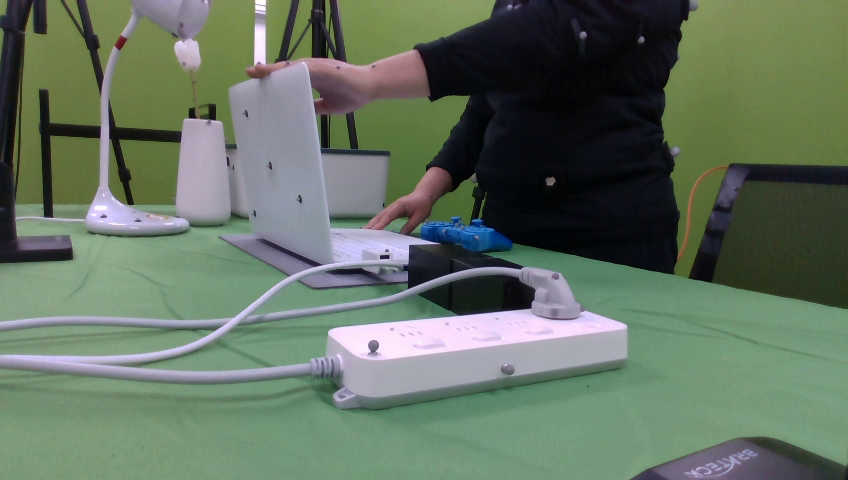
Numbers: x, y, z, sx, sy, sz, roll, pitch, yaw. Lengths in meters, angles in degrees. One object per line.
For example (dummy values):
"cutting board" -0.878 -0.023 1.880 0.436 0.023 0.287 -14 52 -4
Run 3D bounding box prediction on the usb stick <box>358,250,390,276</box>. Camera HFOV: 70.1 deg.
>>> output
"usb stick" -0.062 0.026 0.709 0.021 0.027 0.059 -1 3 -29

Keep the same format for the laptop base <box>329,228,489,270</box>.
"laptop base" -0.096 0.011 0.912 0.237 0.023 0.352 2 6 -32

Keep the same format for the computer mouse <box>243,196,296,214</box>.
"computer mouse" -0.362 -0.082 1.416 0.117 0.041 0.063 -3 10 5

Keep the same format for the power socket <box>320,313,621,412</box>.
"power socket" 0.038 0.075 0.409 0.228 0.032 0.072 -2 8 -29

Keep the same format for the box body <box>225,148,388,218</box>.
"box body" -0.299 -0.143 1.473 0.366 0.160 0.253 -1 9 -30

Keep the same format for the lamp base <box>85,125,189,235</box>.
"lamp base" -0.498 -0.105 1.026 0.179 0.180 0.160 1 7 3

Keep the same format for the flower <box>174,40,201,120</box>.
"flower" -0.430 -0.211 1.165 0.044 0.361 0.038 -10 -5 -23

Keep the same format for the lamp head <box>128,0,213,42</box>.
"lamp head" -0.423 -0.394 0.980 0.123 0.112 0.112 21 7 -3

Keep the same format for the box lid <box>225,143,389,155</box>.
"box lid" -0.296 -0.217 1.462 0.373 0.015 0.262 -2 8 -29

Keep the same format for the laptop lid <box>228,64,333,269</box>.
"laptop lid" -0.207 -0.101 0.825 0.013 0.241 0.355 -12 15 -29

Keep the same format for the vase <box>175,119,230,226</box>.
"vase" -0.425 -0.128 1.158 0.098 0.200 0.098 2 9 0

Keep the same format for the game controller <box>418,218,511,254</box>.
"game controller" 0.062 -0.008 1.027 0.154 0.051 0.097 9 14 43

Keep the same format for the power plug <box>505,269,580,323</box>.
"power plug" 0.092 0.051 0.469 0.035 0.052 0.072 -1 6 -15
